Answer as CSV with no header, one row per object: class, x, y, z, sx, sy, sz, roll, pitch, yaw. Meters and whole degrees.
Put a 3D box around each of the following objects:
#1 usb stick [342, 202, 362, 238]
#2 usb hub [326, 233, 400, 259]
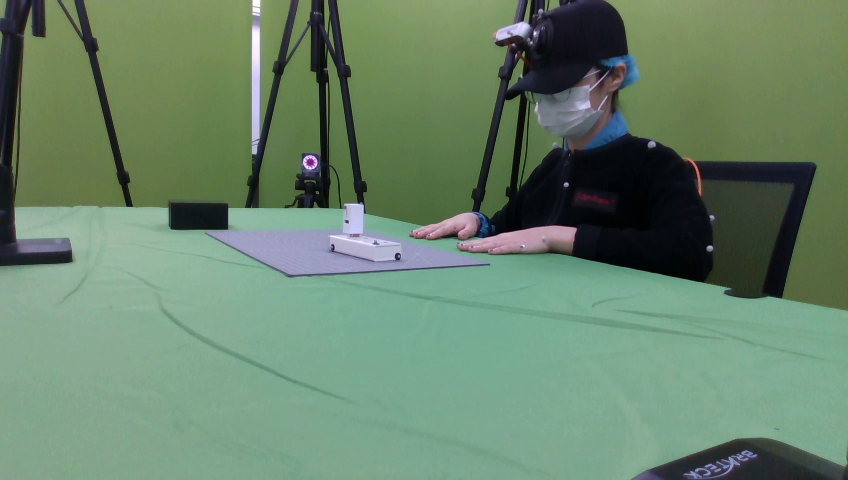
usb stick,-0.109,-0.027,0.914,0.027,0.059,0.021,-8,13,-42
usb hub,-0.092,0.008,0.892,0.050,0.025,0.124,-5,9,-40
